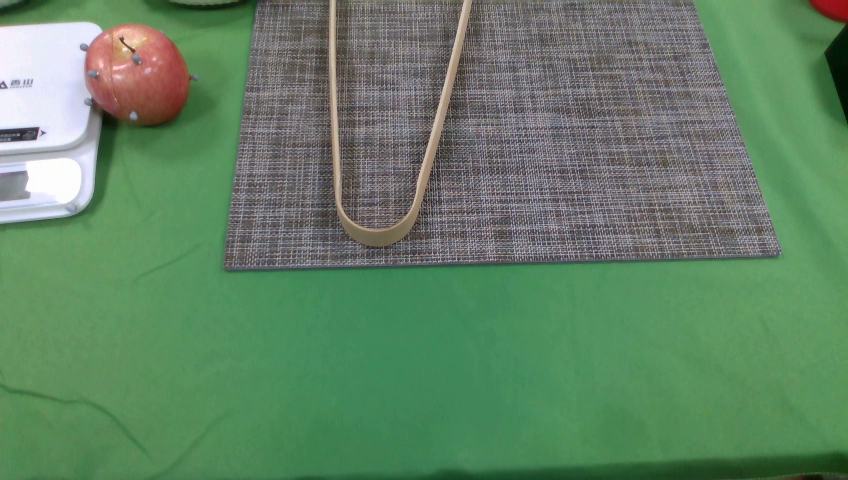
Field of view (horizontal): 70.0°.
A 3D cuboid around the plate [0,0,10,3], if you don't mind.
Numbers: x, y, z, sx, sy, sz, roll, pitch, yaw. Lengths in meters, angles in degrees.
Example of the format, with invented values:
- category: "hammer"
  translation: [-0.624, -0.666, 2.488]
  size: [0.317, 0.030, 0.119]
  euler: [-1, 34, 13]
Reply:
- category: "plate"
  translation: [-0.445, -0.308, 0.619]
  size: [0.208, 0.039, 0.206]
  euler: [1, 62, -1]

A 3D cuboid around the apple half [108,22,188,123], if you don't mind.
- category: "apple half"
  translation: [-0.231, -0.142, 0.519]
  size: [0.053, 0.075, 0.080]
  euler: [-9, 59, -10]

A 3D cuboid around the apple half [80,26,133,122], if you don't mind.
- category: "apple half"
  translation: [-0.269, -0.135, 0.513]
  size: [0.033, 0.082, 0.080]
  euler: [-9, 62, -10]

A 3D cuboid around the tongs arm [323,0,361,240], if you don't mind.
- category: "tongs arm"
  translation: [-0.080, -0.173, 0.563]
  size: [0.028, 0.028, 0.384]
  euler: [-2, 62, -8]

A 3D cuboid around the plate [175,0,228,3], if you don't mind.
- category: "plate"
  translation: [-0.220, -0.317, 0.633]
  size: [0.209, 0.038, 0.207]
  euler: [1, 62, -2]

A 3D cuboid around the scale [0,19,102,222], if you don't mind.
- category: "scale"
  translation: [-0.355, -0.106, 0.518]
  size: [0.149, 0.032, 0.199]
  euler: [-6, 63, -5]

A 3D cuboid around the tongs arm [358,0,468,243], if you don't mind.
- category: "tongs arm"
  translation: [0.005, -0.168, 0.561]
  size: [0.051, 0.027, 0.382]
  euler: [10, 63, 2]
